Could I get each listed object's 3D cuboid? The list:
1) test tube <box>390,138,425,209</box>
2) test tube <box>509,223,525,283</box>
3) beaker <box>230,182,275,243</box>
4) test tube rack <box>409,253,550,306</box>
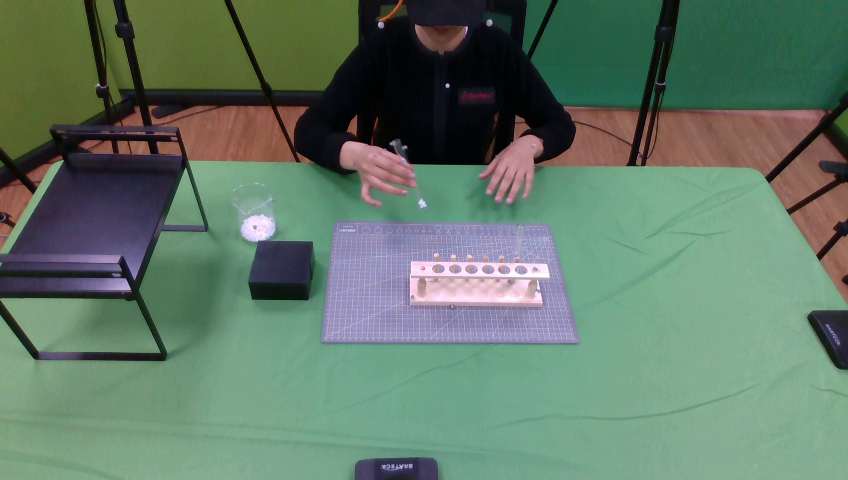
[{"bbox_3d":[-0.029,-0.124,1.147,0.017,0.151,0.017,-19,27,10],"label":"test tube"},{"bbox_3d":[0.165,0.024,1.077,0.017,0.151,0.017,0,47,1],"label":"test tube"},{"bbox_3d":[-0.328,-0.049,1.166,0.074,0.101,0.083,2,47,-2],"label":"beaker"},{"bbox_3d":[0.095,0.067,1.093,0.242,0.085,0.066,1,46,-3],"label":"test tube rack"}]
